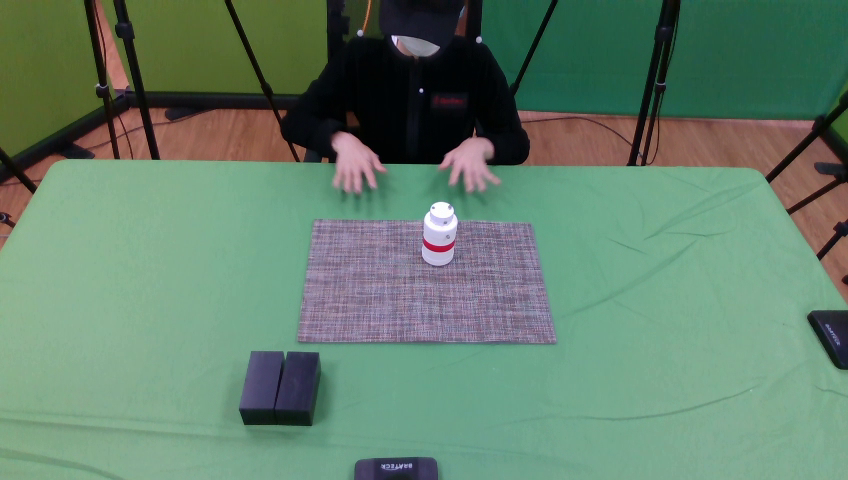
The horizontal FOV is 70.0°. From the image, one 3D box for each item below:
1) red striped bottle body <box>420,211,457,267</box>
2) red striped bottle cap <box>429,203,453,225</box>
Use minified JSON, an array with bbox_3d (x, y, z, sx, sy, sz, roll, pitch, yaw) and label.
[{"bbox_3d":[0.027,-0.011,1.139,0.063,0.120,0.062,3,45,-2],"label":"red striped bottle body"},{"bbox_3d":[0.031,-0.048,1.101,0.044,0.018,0.044,2,43,-2],"label":"red striped bottle cap"}]
